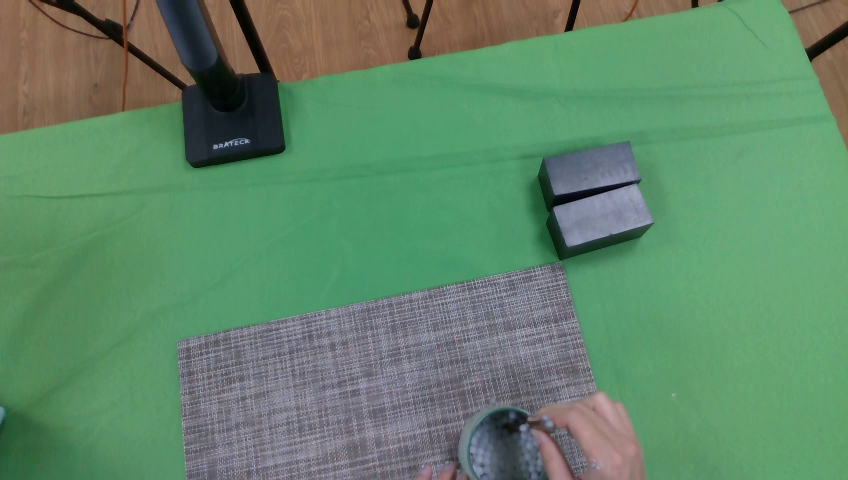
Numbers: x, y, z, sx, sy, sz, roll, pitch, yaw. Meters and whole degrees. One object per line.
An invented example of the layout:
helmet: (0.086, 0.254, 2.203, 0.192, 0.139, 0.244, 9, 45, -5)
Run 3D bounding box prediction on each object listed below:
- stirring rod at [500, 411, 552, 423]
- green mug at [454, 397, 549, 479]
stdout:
stirring rod: (0.089, 0.161, 0.549, 0.014, 0.177, 0.006, 12, 73, 1)
green mug: (0.084, 0.214, 0.591, 0.092, 0.105, 0.124, -28, 74, -7)
